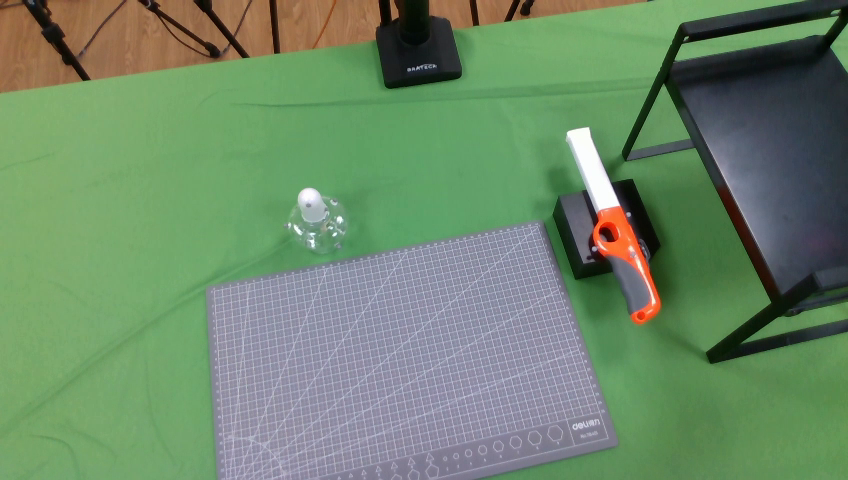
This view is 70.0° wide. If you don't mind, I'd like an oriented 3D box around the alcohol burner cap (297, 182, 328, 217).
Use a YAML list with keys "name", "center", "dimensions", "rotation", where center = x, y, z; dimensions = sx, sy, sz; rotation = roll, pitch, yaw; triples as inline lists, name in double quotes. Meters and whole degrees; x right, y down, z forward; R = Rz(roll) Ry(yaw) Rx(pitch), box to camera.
- name: "alcohol burner cap"
  center: [-0.137, -0.052, 0.734]
  dimensions: [0.034, 0.048, 0.033]
  rotation: [-1, 66, 2]

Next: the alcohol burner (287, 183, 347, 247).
- name: "alcohol burner"
  center: [-0.138, -0.038, 0.762]
  dimensions: [0.078, 0.120, 0.077]
  rotation: [-1, 66, 2]

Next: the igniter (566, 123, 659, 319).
- name: "igniter"
  center: [0.230, -0.032, 0.751]
  dimensions: [0.057, 0.025, 0.274]
  rotation: [-11, 63, -3]
